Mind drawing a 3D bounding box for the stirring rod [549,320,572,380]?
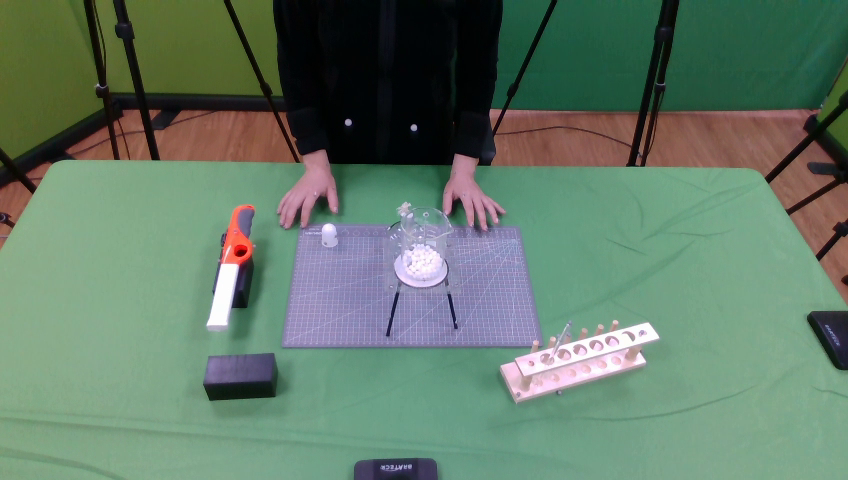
[{"bbox_3d":[0.201,0.167,0.901,0.006,0.177,0.014,-16,54,-10],"label":"stirring rod"}]

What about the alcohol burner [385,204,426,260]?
[{"bbox_3d":[-0.035,-0.020,1.147,0.078,0.120,0.077,1,46,-1],"label":"alcohol burner"}]

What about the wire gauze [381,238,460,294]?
[{"bbox_3d":[-0.007,0.042,0.985,0.125,0.011,0.120,-1,43,-2],"label":"wire gauze"}]

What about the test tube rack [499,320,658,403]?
[{"bbox_3d":[0.252,0.187,0.994,0.243,0.085,0.066,-12,48,-15],"label":"test tube rack"}]

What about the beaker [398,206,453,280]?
[{"bbox_3d":[0.000,0.008,0.950,0.084,0.101,0.073,10,45,6],"label":"beaker"}]

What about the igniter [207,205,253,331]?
[{"bbox_3d":[-0.339,0.038,1.066,0.057,0.025,0.274,2,48,-6],"label":"igniter"}]

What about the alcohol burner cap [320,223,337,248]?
[{"bbox_3d":[-0.187,-0.011,1.176,0.034,0.048,0.033,2,46,-2],"label":"alcohol burner cap"}]

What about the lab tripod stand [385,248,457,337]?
[{"bbox_3d":[-0.010,0.087,1.032,0.148,0.132,0.147,1,45,-1],"label":"lab tripod stand"}]
